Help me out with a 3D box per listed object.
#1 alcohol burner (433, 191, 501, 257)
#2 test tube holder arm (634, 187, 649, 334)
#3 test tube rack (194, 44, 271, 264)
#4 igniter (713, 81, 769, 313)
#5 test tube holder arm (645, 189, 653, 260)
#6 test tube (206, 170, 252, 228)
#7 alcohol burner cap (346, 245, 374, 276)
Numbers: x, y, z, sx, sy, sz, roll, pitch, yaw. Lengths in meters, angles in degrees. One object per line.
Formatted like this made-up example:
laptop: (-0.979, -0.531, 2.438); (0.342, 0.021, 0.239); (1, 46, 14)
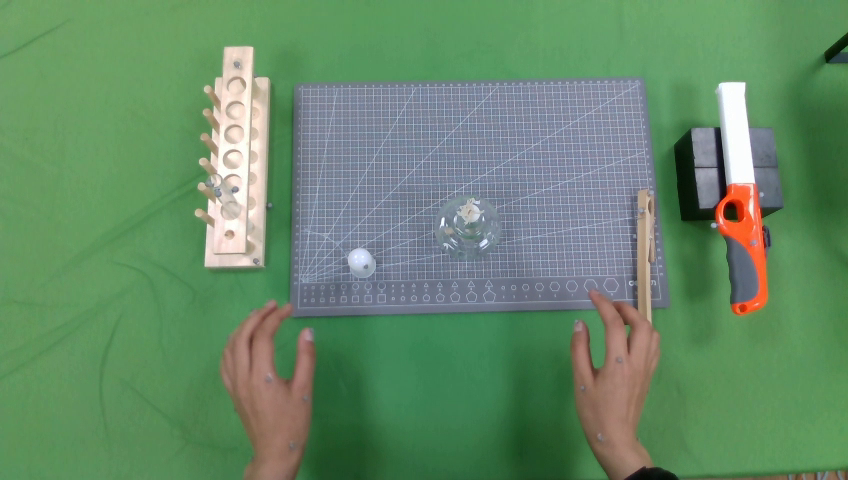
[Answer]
alcohol burner: (0.049, -0.022, 0.681); (0.078, 0.119, 0.077); (0, 78, 0)
test tube holder arm: (0.259, 0.023, 0.720); (0.013, 0.015, 0.177); (14, 74, -28)
test tube rack: (-0.227, -0.098, 0.708); (0.067, 0.085, 0.241); (-1, 78, -1)
igniter: (0.360, -0.054, 0.694); (0.057, 0.025, 0.275); (1, 77, 5)
test tube holder arm: (0.269, -0.019, 0.733); (0.010, 0.015, 0.087); (14, 74, -28)
test tube: (-0.205, -0.040, 0.646); (0.017, 0.151, 0.017); (1, 74, -4)
alcohol burner cap: (-0.076, 0.021, 0.705); (0.034, 0.048, 0.033); (0, 77, -1)
